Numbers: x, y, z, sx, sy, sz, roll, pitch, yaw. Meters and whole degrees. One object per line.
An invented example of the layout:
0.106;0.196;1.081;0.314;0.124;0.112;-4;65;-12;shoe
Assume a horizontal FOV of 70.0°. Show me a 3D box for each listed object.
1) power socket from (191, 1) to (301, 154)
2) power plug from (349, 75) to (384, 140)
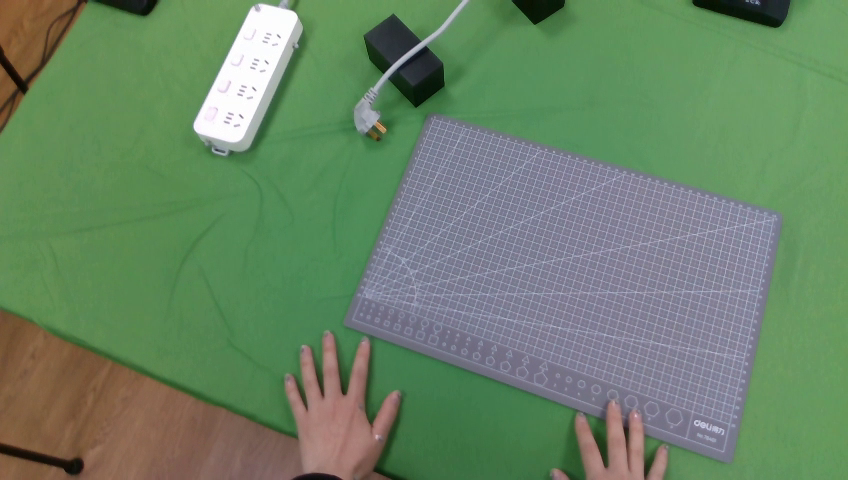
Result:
-0.233;-0.220;0.802;0.072;0.033;0.225;17;73;7;power socket
-0.063;-0.162;0.762;0.072;0.035;0.053;-36;115;26;power plug
